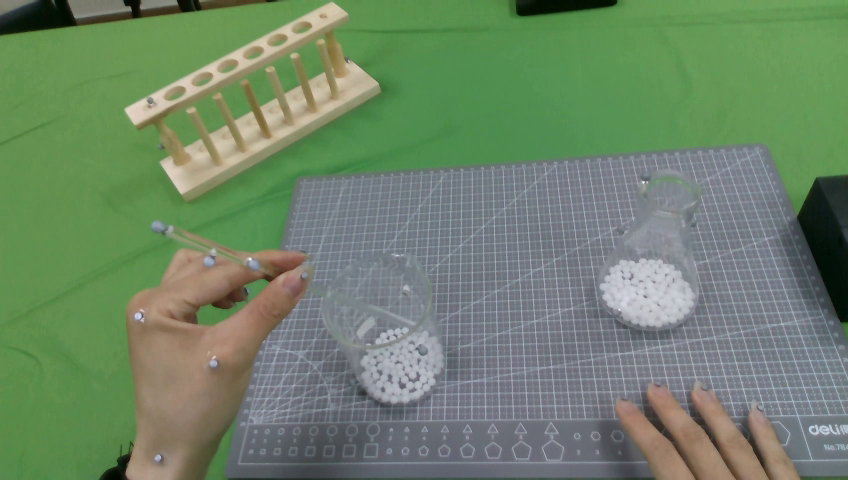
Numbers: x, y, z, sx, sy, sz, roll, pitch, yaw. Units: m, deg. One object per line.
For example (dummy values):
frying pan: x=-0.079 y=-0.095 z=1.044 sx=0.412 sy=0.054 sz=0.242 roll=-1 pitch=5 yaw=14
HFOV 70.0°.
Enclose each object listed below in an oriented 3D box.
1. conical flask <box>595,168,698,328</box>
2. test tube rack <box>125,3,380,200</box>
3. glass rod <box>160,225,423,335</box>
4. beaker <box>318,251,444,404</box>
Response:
conical flask: x=0.165 y=0.004 z=0.433 sx=0.075 sy=0.123 sz=0.074 roll=-5 pitch=52 yaw=7
test tube rack: x=-0.172 y=-0.149 z=0.640 sx=0.242 sy=0.086 sz=0.066 roll=-34 pitch=54 yaw=-16
glass rod: x=-0.067 y=0.031 z=0.373 sx=0.008 sy=0.202 sz=0.008 roll=-22 pitch=55 yaw=35
beaker: x=-0.024 y=0.065 z=0.435 sx=0.073 sy=0.101 sz=0.083 roll=19 pitch=58 yaw=23
